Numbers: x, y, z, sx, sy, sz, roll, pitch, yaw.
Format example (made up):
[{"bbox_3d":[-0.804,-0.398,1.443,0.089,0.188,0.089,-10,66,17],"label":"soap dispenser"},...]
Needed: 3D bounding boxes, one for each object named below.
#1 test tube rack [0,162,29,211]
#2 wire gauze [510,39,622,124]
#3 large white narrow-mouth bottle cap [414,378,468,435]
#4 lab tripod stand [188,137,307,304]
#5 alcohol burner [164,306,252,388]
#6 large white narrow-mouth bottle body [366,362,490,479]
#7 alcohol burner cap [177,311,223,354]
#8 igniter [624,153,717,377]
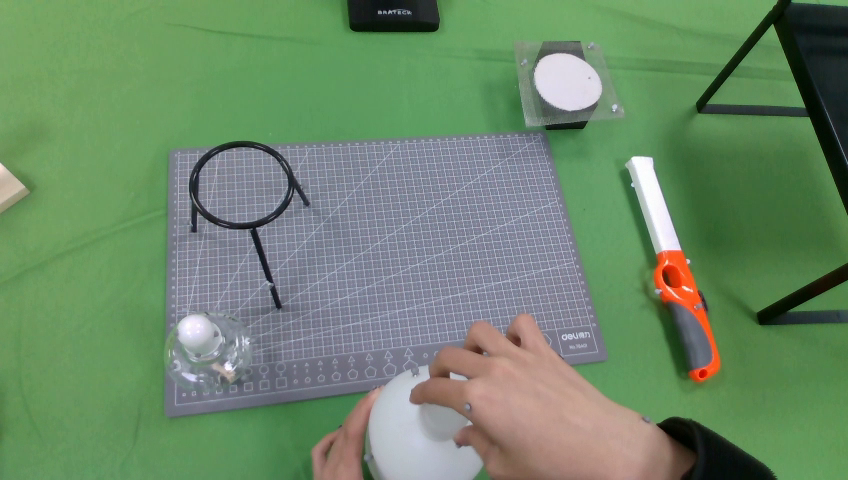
[{"bbox_3d":[-0.518,-0.013,0.568,0.066,0.085,0.242,40,66,11],"label":"test tube rack"},{"bbox_3d":[0.172,-0.198,0.742,0.122,0.011,0.124,-3,67,-9],"label":"wire gauze"},{"bbox_3d":[0.011,0.117,0.424,0.038,0.024,0.037,3,65,-6],"label":"large white narrow-mouth bottle cap"},{"bbox_3d":[-0.168,-0.024,0.594,0.149,0.132,0.147,4,65,-8],"label":"lab tripod stand"},{"bbox_3d":[-0.197,0.092,0.548,0.078,0.120,0.077,4,63,-8],"label":"alcohol burner"},{"bbox_3d":[0.002,0.157,0.506,0.102,0.196,0.101,3,64,-5],"label":"large white narrow-mouth bottle body"},{"bbox_3d":[-0.192,0.078,0.515,0.034,0.048,0.033,3,71,-7],"label":"alcohol burner cap"},{"bbox_3d":[0.283,0.021,0.701,0.057,0.025,0.274,0,66,-20],"label":"igniter"}]
